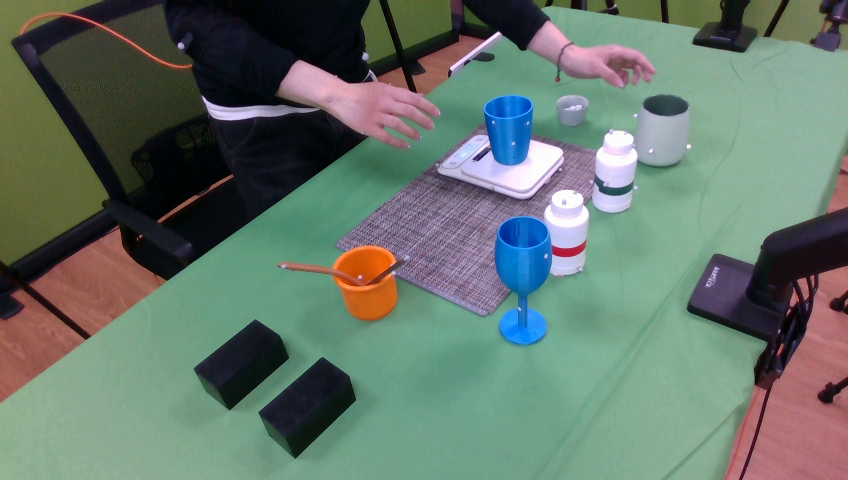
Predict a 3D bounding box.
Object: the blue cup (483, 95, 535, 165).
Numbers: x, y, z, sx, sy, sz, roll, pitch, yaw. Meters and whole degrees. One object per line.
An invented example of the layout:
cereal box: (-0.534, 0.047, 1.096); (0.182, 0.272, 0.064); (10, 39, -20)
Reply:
blue cup: (0.148, -0.188, 1.053); (0.092, 0.100, 0.092); (-6, 39, 5)

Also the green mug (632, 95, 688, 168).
green mug: (0.421, -0.201, 1.081); (0.092, 0.105, 0.125); (6, 42, 15)

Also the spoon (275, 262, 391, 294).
spoon: (-0.120, 0.050, 0.830); (0.041, 0.195, 0.021); (32, 97, 45)

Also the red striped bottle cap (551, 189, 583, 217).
red striped bottle cap: (0.200, -0.052, 0.843); (0.044, 0.018, 0.044); (-1, 42, 2)

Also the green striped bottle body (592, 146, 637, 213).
green striped bottle body: (0.307, -0.108, 0.976); (0.063, 0.120, 0.063); (-4, 41, 4)

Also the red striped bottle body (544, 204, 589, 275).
red striped bottle body: (0.206, -0.011, 0.877); (0.063, 0.120, 0.062); (-5, 41, 4)

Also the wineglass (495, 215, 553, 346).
wineglass: (0.127, 0.054, 0.770); (0.074, 0.173, 0.073); (-4, 40, 4)

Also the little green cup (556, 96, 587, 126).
little green cup: (0.295, -0.257, 1.214); (0.061, 0.039, 0.061); (-4, 41, 4)

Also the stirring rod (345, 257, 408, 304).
stirring rod: (-0.067, 0.057, 0.814); (0.014, 0.175, 0.006); (-24, 82, -38)

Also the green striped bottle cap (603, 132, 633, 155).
green striped bottle cap: (0.302, -0.149, 0.938); (0.044, 0.020, 0.044); (-3, 40, 3)

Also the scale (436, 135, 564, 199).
scale: (0.137, -0.142, 1.101); (0.199, 0.032, 0.149); (22, 48, 30)
